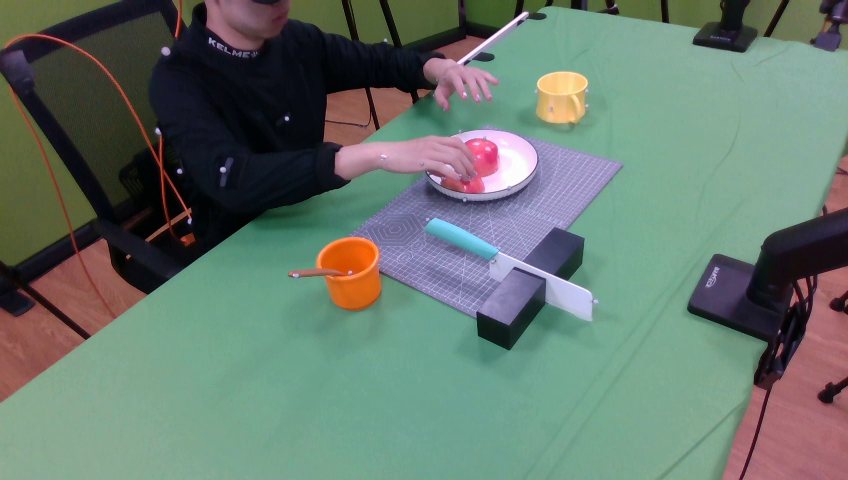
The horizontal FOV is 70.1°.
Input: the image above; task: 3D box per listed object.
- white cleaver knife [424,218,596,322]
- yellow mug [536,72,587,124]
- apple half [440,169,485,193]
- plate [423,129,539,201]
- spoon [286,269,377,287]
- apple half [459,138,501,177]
[{"bbox_3d":[0.114,0.042,0.865,0.284,0.066,0.021,27,47,28],"label":"white cleaver knife"},{"bbox_3d":[0.284,-0.281,1.222,0.100,0.064,0.130,-16,42,-9],"label":"yellow mug"},{"bbox_3d":[0.070,-0.107,1.039,0.081,0.033,0.081,6,22,-2],"label":"apple half"},{"bbox_3d":[0.103,-0.133,1.092,0.209,0.038,0.208,-4,40,4],"label":"plate"},{"bbox_3d":[-0.125,0.049,0.831,0.041,0.195,0.021,22,92,28],"label":"spoon"},{"bbox_3d":[0.101,-0.156,1.096,0.074,0.053,0.080,2,39,12],"label":"apple half"}]
